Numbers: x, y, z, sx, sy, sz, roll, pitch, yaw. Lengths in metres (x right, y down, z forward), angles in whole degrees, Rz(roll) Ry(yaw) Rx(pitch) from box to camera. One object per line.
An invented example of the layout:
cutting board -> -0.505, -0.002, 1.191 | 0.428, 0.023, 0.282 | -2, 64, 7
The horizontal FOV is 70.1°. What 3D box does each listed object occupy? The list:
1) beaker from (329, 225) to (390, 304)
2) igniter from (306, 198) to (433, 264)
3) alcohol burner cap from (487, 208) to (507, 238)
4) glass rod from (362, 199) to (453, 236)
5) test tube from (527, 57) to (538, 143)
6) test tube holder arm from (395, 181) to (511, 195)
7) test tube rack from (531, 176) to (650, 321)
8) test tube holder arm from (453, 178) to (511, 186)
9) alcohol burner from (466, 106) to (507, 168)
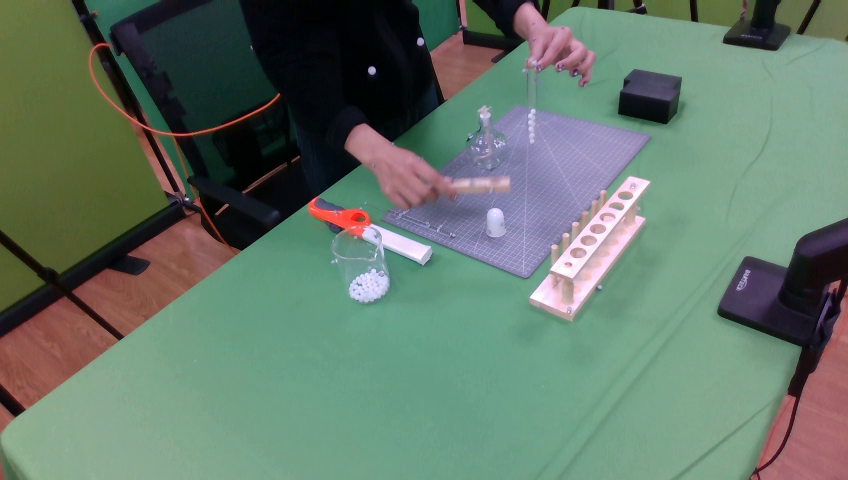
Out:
beaker -> -0.089, 0.040, 0.890 | 0.074, 0.101, 0.083 | -32, 46, -24
igniter -> -0.102, -0.020, 1.019 | 0.274, 0.025, 0.057 | 22, 59, 32
alcohol burner cap -> 0.116, -0.030, 0.975 | 0.034, 0.048, 0.033 | -6, 40, 5
glass rod -> -0.032, -0.041, 1.041 | 0.198, 0.008, 0.008 | 22, 50, 31
test tube -> 0.170, -0.215, 0.947 | 0.017, 0.151, 0.017 | -5, 43, 5
test tube holder arm -> 0.041, -0.079, 0.915 | 0.178, 0.015, 0.013 | -2, 38, 13
test tube rack -> 0.246, 0.002, 0.884 | 0.066, 0.085, 0.243 | 22, 49, 32
test tube holder arm -> 0.086, -0.084, 0.909 | 0.087, 0.015, 0.010 | -2, 38, 13
alcohol burner -> 0.115, -0.193, 1.112 | 0.078, 0.119, 0.077 | -4, 41, 4
